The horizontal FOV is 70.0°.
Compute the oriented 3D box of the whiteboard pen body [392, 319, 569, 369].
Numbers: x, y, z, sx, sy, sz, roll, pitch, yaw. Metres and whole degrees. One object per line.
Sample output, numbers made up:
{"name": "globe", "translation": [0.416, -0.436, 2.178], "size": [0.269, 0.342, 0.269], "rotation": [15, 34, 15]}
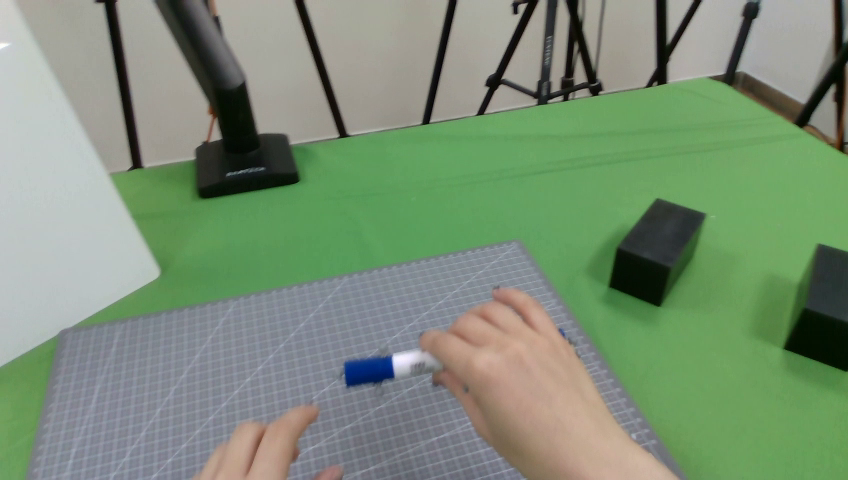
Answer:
{"name": "whiteboard pen body", "translation": [0.025, 0.069, 0.393], "size": [0.141, 0.017, 0.017], "rotation": [-9, 39, -4]}

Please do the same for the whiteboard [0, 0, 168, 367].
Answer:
{"name": "whiteboard", "translation": [-0.418, -0.056, 0.533], "size": [0.143, 0.308, 0.217], "rotation": [9, 36, 45]}

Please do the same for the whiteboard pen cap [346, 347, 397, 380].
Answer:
{"name": "whiteboard pen cap", "translation": [-0.033, 0.079, 0.386], "size": [0.033, 0.018, 0.018], "rotation": [-7, 39, -5]}
